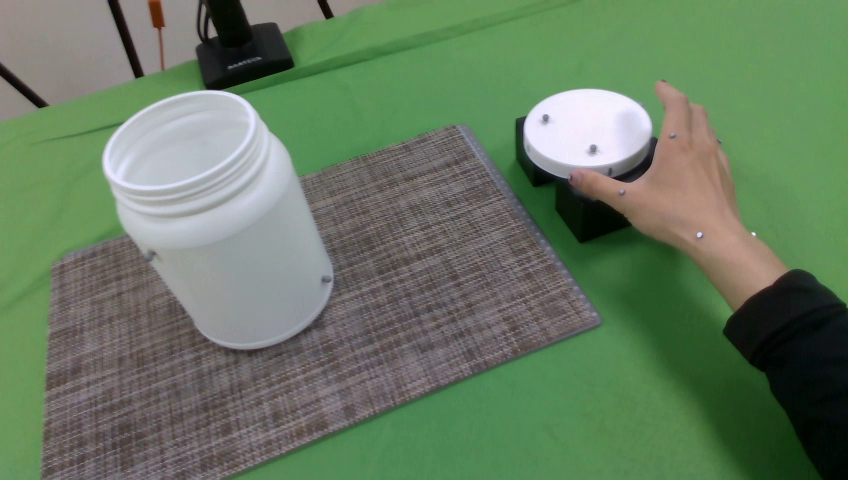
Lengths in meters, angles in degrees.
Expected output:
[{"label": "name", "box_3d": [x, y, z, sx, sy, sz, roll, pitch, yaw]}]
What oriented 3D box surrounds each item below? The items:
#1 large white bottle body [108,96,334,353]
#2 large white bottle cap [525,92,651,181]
[{"label": "large white bottle body", "box_3d": [-0.156, -0.009, 0.489, 0.130, 0.186, 0.129, -4, 48, 5]}, {"label": "large white bottle cap", "box_3d": [0.152, -0.099, 0.566, 0.115, 0.018, 0.113, -5, 48, 6]}]
